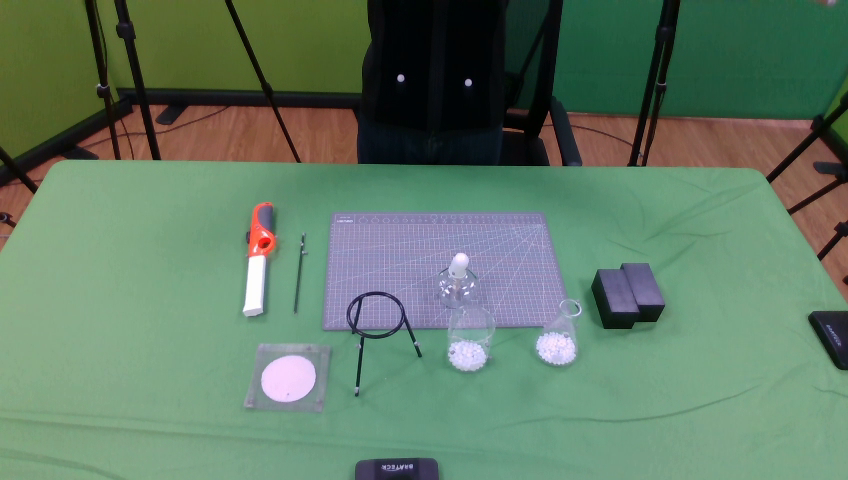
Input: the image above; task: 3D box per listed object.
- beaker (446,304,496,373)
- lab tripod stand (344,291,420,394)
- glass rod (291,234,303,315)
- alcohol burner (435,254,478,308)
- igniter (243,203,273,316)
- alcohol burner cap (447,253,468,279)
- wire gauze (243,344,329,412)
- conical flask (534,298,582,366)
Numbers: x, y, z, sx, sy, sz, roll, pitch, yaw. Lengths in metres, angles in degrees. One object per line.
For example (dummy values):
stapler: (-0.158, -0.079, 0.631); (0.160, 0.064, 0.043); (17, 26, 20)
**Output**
beaker: (0.072, 0.166, 0.992); (0.084, 0.101, 0.073); (-21, 51, -22)
lab tripod stand: (-0.075, 0.154, 0.967); (0.148, 0.132, 0.147); (3, 44, -3)
glass rod: (-0.237, 0.060, 1.134); (0.008, 0.008, 0.198); (-1, 46, -4)
alcohol burner: (0.058, 0.066, 1.073); (0.078, 0.120, 0.077); (1, 48, -1)
igniter: (-0.315, 0.027, 1.145); (0.057, 0.025, 0.274); (-10, 47, 0)
alcohol burner cap: (0.060, 0.043, 1.046); (0.034, 0.048, 0.033); (5, 50, -6)
wire gauze: (-0.221, 0.219, 0.981); (0.125, 0.011, 0.120); (2, 45, 0)
conical flask: (0.229, 0.149, 1.005); (0.075, 0.122, 0.075); (2, 46, -2)
